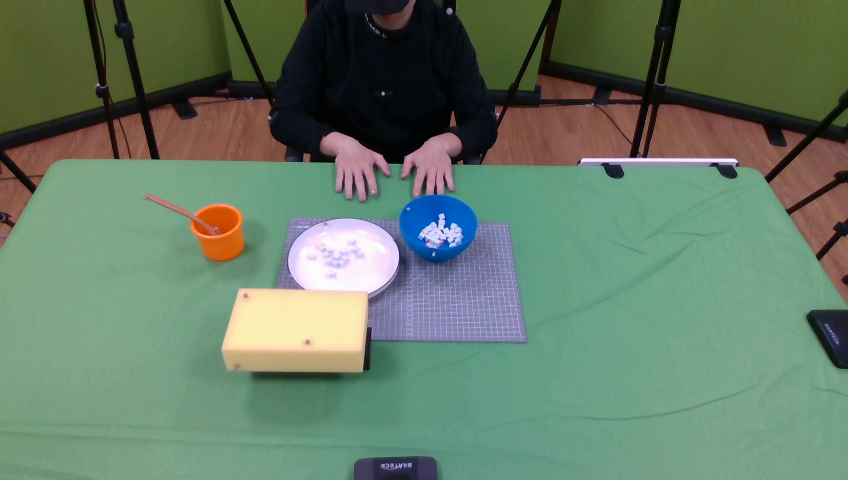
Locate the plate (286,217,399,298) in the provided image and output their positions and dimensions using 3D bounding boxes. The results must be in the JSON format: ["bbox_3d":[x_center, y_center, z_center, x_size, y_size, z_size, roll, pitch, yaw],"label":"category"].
[{"bbox_3d":[-0.150,0.041,1.131,0.209,0.038,0.208,2,45,-2],"label":"plate"}]

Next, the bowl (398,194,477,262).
[{"bbox_3d":[0.023,-0.011,1.167,0.151,0.077,0.150,2,46,-2],"label":"bowl"}]

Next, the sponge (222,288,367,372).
[{"bbox_3d":[-0.196,0.141,0.952,0.207,0.061,0.117,1,46,-3],"label":"sponge"}]

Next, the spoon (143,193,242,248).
[{"bbox_3d":[-0.421,-0.037,1.113,0.021,0.195,0.041,-36,37,23],"label":"spoon"}]
